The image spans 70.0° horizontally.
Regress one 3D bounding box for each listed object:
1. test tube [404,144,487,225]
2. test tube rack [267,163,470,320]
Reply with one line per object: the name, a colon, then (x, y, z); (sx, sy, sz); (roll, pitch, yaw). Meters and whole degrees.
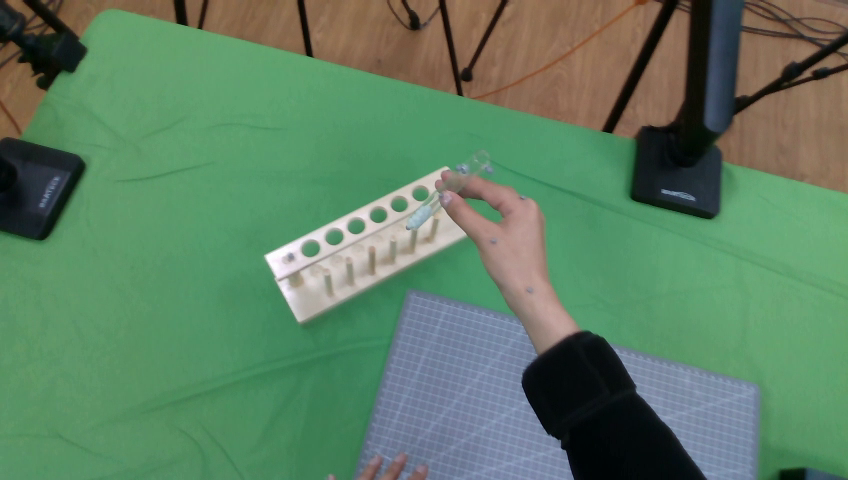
test tube: (0.016, -0.047, 0.563); (0.017, 0.150, 0.017); (10, 65, -22)
test tube rack: (-0.058, 0.002, 0.734); (0.242, 0.085, 0.066); (-27, 72, -15)
